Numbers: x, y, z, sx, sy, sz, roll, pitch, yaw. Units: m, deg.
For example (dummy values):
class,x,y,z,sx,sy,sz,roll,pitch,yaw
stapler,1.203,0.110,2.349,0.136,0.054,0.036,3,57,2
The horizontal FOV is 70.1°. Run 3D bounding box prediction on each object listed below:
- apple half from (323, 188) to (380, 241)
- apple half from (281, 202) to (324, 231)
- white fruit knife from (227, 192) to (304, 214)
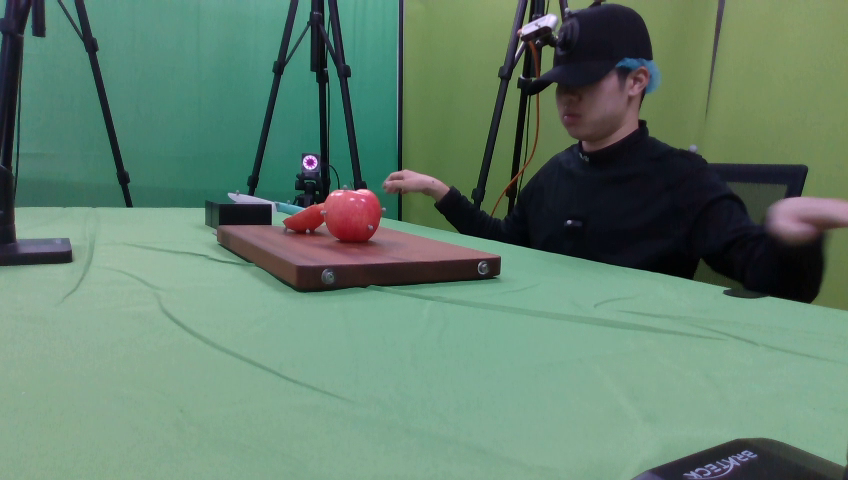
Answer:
class,x,y,z,sx,sy,sz,roll,pitch,yaw
apple half,-0.094,-0.034,0.840,0.081,0.074,0.053,1,10,-38
apple half,-0.175,-0.033,0.927,0.081,0.033,0.081,-21,1,1
white fruit knife,-0.302,-0.069,1.242,0.208,0.027,0.016,14,3,-37
